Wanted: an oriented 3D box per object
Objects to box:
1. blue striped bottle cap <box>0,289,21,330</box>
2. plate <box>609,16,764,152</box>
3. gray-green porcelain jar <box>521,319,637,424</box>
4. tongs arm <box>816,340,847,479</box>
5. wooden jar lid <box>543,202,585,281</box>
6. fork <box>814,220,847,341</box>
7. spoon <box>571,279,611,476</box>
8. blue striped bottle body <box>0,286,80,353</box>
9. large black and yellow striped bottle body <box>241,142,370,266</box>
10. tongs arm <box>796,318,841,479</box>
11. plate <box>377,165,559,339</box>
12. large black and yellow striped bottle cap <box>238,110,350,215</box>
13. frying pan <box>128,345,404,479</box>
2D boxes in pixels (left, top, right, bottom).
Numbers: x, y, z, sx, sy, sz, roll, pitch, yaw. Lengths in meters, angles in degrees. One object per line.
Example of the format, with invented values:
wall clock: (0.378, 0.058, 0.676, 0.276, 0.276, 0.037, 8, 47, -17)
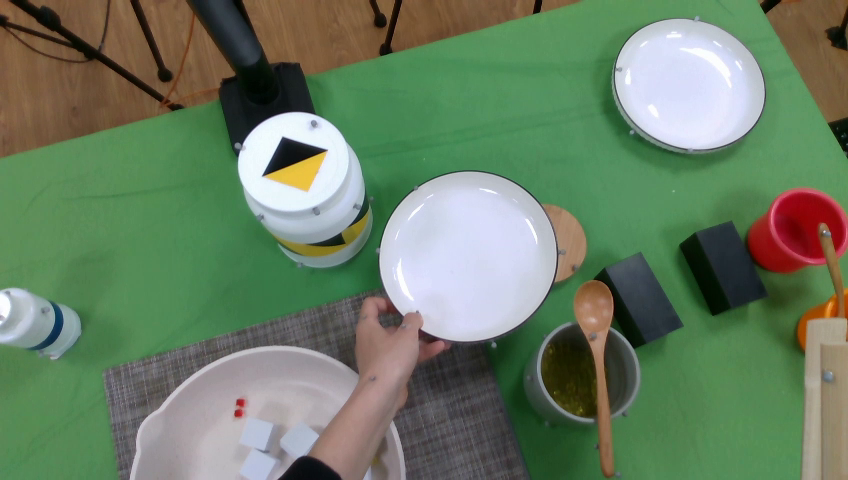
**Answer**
blue striped bottle cap: (-0.460, 0.074, 0.648, 0.044, 0.021, 0.044, 0, 74, 0)
plate: (0.357, -0.212, 0.838, 0.209, 0.038, 0.208, 0, 72, 0)
gray-green porcelain jar: (0.166, 0.151, 0.677, 0.106, 0.127, 0.105, 0, 72, 0)
tongs arm: (0.294, 0.244, 0.440, 0.026, 0.050, 0.386, -6, 103, 14)
wooden jar lid: (0.151, 0.003, 0.780, 0.108, 0.021, 0.108, 0, 75, 1)
fork: (0.468, 0.062, 0.693, 0.028, 0.018, 0.209, -29, 119, -1)
spoon: (0.173, 0.136, 0.608, 0.042, 0.022, 0.192, 1, 76, -6)
blue striped bottle body: (-0.459, 0.091, 0.697, 0.063, 0.121, 0.062, 0, 72, 0)
large black and yellow striped bottle body: (-0.136, -0.054, 0.711, 0.131, 0.185, 0.130, 0, 72, 0)
tongs arm: (0.299, 0.237, 0.461, 0.028, 0.028, 0.389, -7, 107, 11)
plate: (0.051, 0.014, 0.709, 0.207, 0.039, 0.206, -2, 72, 6)
large black and yellow striped bottle cap: (-0.135, -0.082, 0.632, 0.115, 0.019, 0.114, 0, 74, 0)
frying pan: (-0.208, 0.349, 0.621, 0.306, 0.103, 0.485, 23, 66, 8)
